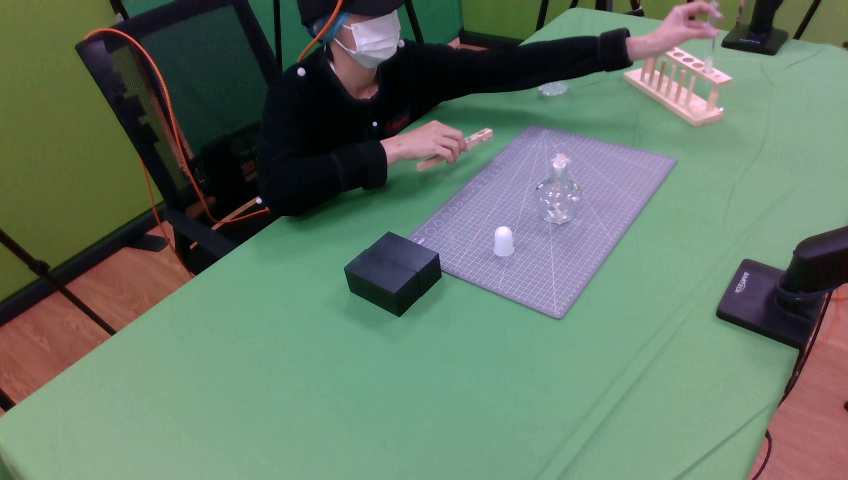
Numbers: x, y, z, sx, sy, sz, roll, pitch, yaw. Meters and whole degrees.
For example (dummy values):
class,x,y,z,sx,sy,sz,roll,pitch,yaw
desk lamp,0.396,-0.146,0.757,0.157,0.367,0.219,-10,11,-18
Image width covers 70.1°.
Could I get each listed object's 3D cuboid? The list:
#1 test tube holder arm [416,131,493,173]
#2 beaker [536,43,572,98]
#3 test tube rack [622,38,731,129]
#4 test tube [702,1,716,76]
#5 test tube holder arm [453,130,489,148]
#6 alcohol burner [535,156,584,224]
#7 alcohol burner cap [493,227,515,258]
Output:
class,x,y,z,sx,sy,sz,roll,pitch,yaw
test tube holder arm,0.058,-0.162,1.101,0.179,0.015,0.013,-30,36,-29
beaker,0.281,-0.368,1.311,0.074,0.101,0.084,4,41,14
test tube rack,0.506,-0.325,1.234,0.067,0.085,0.240,-18,41,-11
test tube,0.525,-0.366,1.115,0.017,0.151,0.017,-10,41,9
test tube holder arm,0.089,-0.184,1.127,0.088,0.015,0.010,-31,36,-29
alcohol burner,0.217,-0.085,0.967,0.078,0.119,0.077,-3,41,3
alcohol burner cap,0.124,0.001,0.936,0.034,0.048,0.033,-4,40,4
